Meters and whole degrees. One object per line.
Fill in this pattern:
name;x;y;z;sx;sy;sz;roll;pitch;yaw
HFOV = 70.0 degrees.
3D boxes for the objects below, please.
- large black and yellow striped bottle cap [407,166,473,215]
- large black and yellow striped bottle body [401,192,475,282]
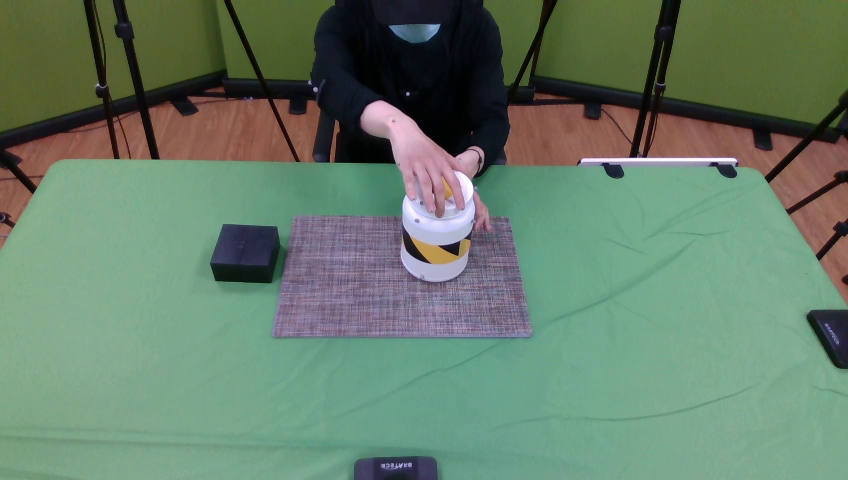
large black and yellow striped bottle cap;0.028;-0.087;1.045;0.115;0.019;0.114;3;46;-3
large black and yellow striped bottle body;0.024;-0.028;1.105;0.131;0.185;0.130;2;46;-2
